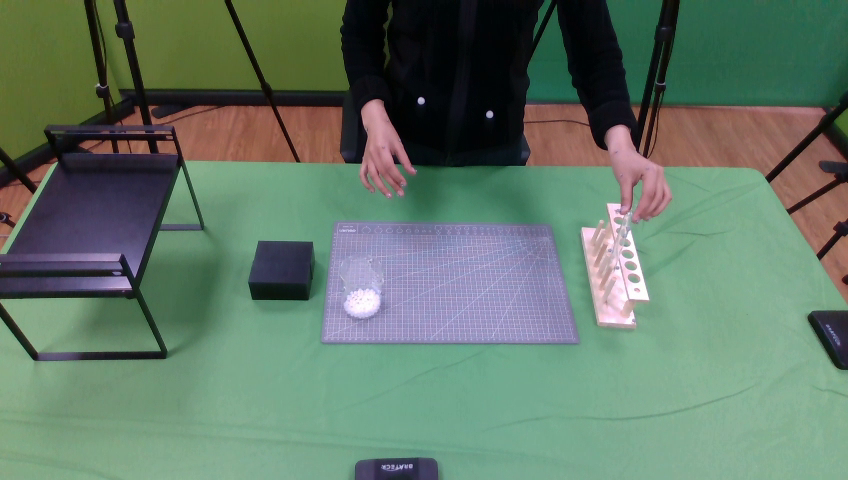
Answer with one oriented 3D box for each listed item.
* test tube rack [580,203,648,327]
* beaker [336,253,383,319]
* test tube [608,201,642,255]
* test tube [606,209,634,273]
[{"bbox_3d":[0.352,0.041,1.143,0.067,0.085,0.241,4,46,0],"label":"test tube rack"},{"bbox_3d":[-0.108,0.084,1.052,0.084,0.101,0.074,25,50,17],"label":"beaker"},{"bbox_3d":[0.374,-0.019,1.134,0.017,0.151,0.017,3,52,-4],"label":"test tube"},{"bbox_3d":[0.335,0.003,1.040,0.017,0.151,0.017,0,47,0],"label":"test tube"}]
